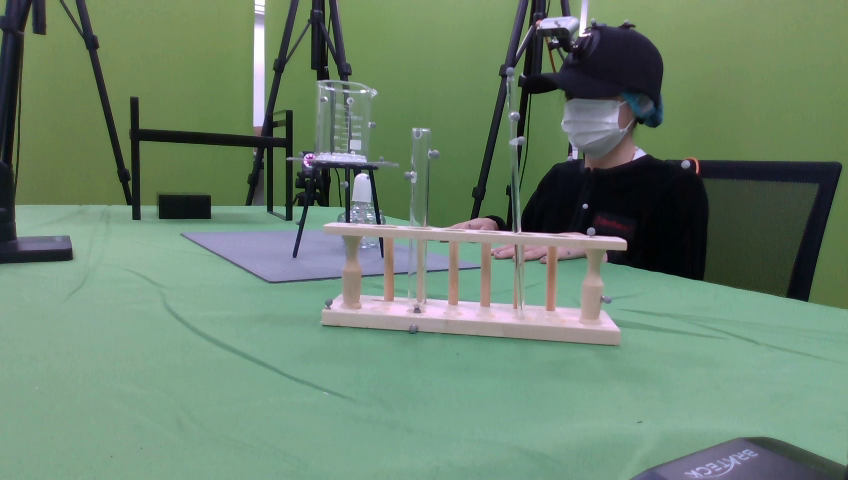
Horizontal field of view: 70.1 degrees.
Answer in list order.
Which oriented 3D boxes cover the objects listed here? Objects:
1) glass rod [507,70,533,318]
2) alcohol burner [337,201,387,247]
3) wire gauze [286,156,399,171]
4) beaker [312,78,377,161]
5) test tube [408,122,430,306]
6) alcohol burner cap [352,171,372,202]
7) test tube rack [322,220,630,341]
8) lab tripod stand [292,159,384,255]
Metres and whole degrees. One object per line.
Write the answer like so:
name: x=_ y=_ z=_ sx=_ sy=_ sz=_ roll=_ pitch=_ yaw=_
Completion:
glass rod: x=0.076 y=-0.031 z=0.476 sx=0.008 sy=0.199 sz=0.008 roll=-6 pitch=12 yaw=2
alcohol burner: x=-0.098 y=-0.049 z=0.954 sx=0.078 sy=0.119 sz=0.078 roll=0 pitch=6 yaw=0
wire gauze: x=-0.101 y=-0.103 z=0.788 sx=0.121 sy=0.011 sz=0.125 roll=5 pitch=4 yaw=6
beaker: x=-0.103 y=-0.151 z=0.776 sx=0.084 sy=0.100 sz=0.074 roll=5 pitch=6 yaw=14
test tube: x=-0.004 y=-0.019 z=0.489 sx=0.017 sy=0.150 sz=0.017 roll=1 pitch=11 yaw=0
alcohol burner cap: x=-0.096 y=-0.084 z=0.951 sx=0.034 sy=0.048 sz=0.034 roll=6 pitch=5 yaw=0
test tube rack: x=0.041 y=0.029 z=0.512 sx=0.242 sy=0.085 sz=0.067 roll=3 pitch=7 yaw=5
lab tripod stand: x=-0.105 y=-0.039 z=0.797 sx=0.148 sy=0.131 sz=0.148 roll=2 pitch=5 yaw=0
